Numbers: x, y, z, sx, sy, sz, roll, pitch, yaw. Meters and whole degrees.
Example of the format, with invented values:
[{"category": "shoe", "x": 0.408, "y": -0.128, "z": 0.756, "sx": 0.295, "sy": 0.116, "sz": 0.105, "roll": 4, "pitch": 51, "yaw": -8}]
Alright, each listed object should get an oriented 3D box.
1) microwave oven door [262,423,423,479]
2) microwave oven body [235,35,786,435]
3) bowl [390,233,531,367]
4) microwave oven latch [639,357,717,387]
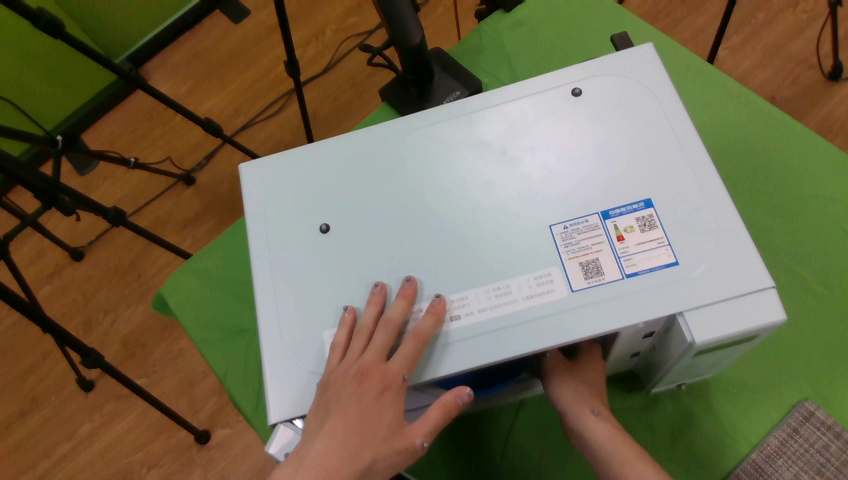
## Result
[{"category": "microwave oven door", "x": 0.040, "y": 0.275, "z": 0.557, "sx": 0.354, "sy": 0.246, "sz": 0.039, "roll": 25, "pitch": 73, "yaw": 18}, {"category": "microwave oven body", "x": 0.067, "y": 0.025, "z": 0.666, "sx": 0.442, "sy": 0.262, "sz": 0.323, "roll": -16, "pitch": 66, "yaw": 3}, {"category": "bowl", "x": 0.043, "y": 0.076, "z": 0.676, "sx": 0.151, "sy": 0.077, "sz": 0.150, "roll": -3, "pitch": 64, "yaw": 6}, {"category": "microwave oven latch", "x": 0.287, "y": 0.142, "z": 0.685, "sx": 0.079, "sy": 0.030, "sz": 0.030, "roll": -15, "pitch": 66, "yaw": 4}]
